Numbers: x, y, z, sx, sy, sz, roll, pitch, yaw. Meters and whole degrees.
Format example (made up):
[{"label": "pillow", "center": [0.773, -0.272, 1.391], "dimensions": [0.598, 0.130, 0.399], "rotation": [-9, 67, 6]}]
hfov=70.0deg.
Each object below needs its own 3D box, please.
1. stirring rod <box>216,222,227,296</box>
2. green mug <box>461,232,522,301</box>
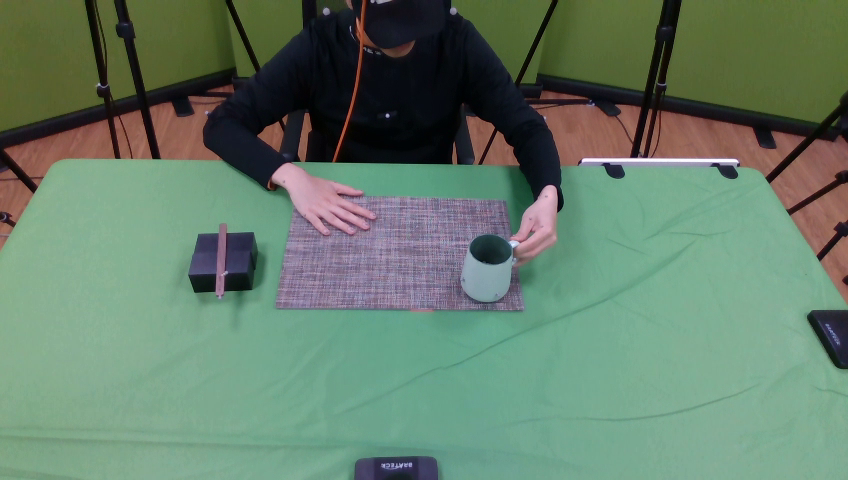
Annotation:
[{"label": "stirring rod", "center": [-0.362, 0.031, 1.082], "dimensions": [0.014, 0.006, 0.175], "rotation": [-6, 48, -10]}, {"label": "green mug", "center": [0.128, 0.043, 1.103], "dimensions": [0.125, 0.105, 0.092], "rotation": [-28, 54, -27]}]
